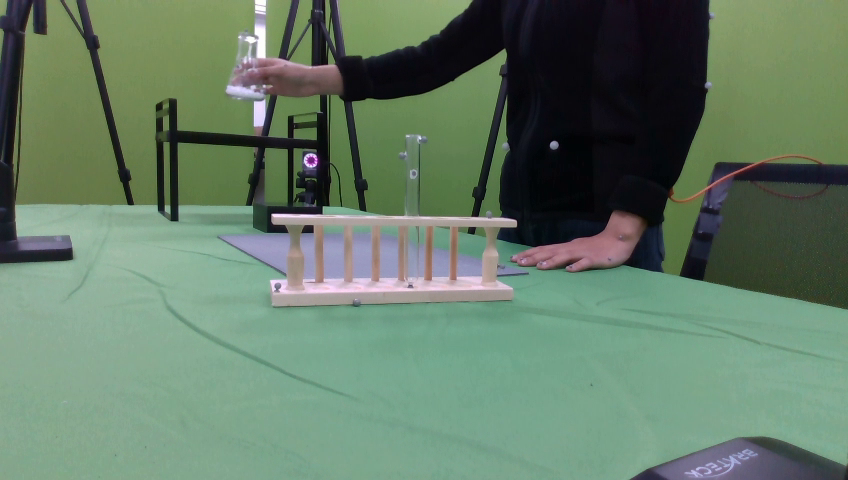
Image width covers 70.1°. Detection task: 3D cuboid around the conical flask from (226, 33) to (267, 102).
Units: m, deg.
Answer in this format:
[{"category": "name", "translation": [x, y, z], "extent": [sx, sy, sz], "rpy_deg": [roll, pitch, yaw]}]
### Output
[{"category": "conical flask", "translation": [-0.335, -0.328, 1.152], "extent": [0.075, 0.122, 0.075], "rpy_deg": [6, 8, 0]}]

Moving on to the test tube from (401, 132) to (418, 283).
[{"category": "test tube", "translation": [-0.014, -0.031, 0.596], "extent": [0.017, 0.150, 0.017], "rpy_deg": [1, 11, 0]}]

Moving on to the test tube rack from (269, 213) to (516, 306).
[{"category": "test tube rack", "translation": [-0.032, 0.015, 0.617], "extent": [0.243, 0.085, 0.066], "rpy_deg": [0, 8, -17]}]
